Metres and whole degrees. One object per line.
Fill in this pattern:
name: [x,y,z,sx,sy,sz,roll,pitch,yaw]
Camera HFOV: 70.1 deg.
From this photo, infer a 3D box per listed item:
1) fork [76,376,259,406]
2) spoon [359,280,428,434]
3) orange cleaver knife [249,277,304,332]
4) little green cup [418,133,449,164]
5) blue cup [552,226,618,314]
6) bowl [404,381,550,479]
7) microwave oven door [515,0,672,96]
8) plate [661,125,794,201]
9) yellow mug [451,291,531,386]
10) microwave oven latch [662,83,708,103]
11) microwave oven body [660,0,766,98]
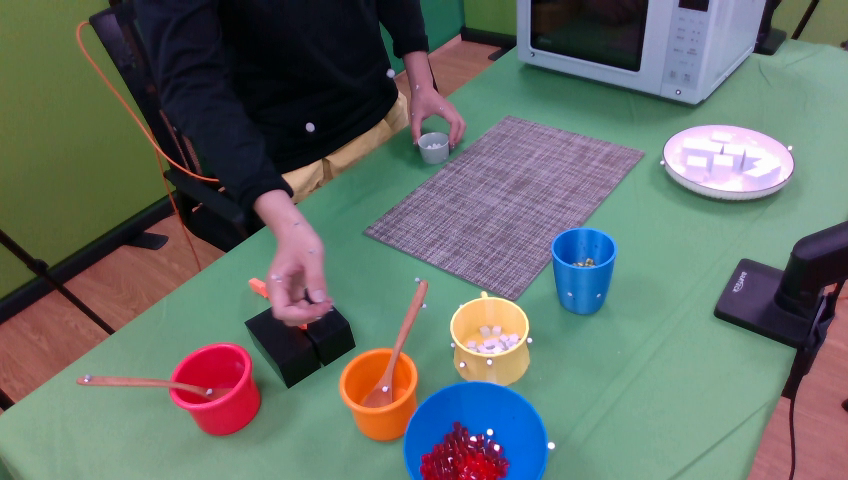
fork: [-0.295,0.176,0.716,0.209,0.018,0.028,20,24,-36]
spoon: [-0.032,0.138,0.719,0.041,0.193,0.022,22,4,29]
orange cleaver knife: [-0.210,0.088,0.855,0.012,0.077,0.210,-28,15,-24]
little green cup: [0.019,-0.176,1.168,0.061,0.039,0.061,-2,39,2]
blue cup: [0.217,0.047,0.826,0.092,0.100,0.092,-6,40,5]
bowl: [0.058,0.235,0.645,0.151,0.077,0.150,-4,39,4]
microwave oven door: [0.343,-0.454,1.259,0.353,0.245,0.039,26,51,33]
plate: [0.513,-0.128,1.035,0.207,0.039,0.206,-4,40,4]
yellow mug: [0.086,0.120,0.786,0.100,0.064,0.130,-7,39,1]
microwave oven latch: [0.518,-0.297,1.204,0.078,0.029,0.030,29,53,36]
microwave oven body: [0.472,-0.513,1.317,0.438,0.261,0.327,26,51,34]
